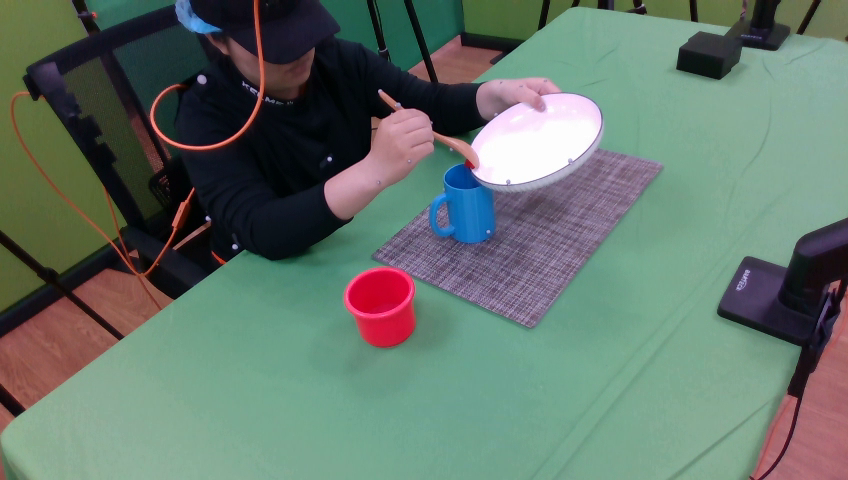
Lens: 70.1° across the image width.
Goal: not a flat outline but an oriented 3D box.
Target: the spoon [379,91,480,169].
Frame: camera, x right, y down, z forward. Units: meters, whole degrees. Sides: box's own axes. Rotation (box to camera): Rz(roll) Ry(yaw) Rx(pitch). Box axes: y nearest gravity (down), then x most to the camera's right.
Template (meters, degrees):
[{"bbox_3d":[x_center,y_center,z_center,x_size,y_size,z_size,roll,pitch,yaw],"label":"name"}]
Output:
[{"bbox_3d":[0.012,-0.159,0.881,0.195,0.021,0.041,27,36,-26],"label":"spoon"}]

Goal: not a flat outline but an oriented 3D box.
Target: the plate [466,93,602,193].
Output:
[{"bbox_3d":[0.166,-0.141,0.910,0.207,0.039,0.206,-18,41,17],"label":"plate"}]

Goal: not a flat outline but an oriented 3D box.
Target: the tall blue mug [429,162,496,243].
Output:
[{"bbox_3d":[0.067,-0.051,0.960,0.077,0.108,0.107,18,47,27],"label":"tall blue mug"}]
